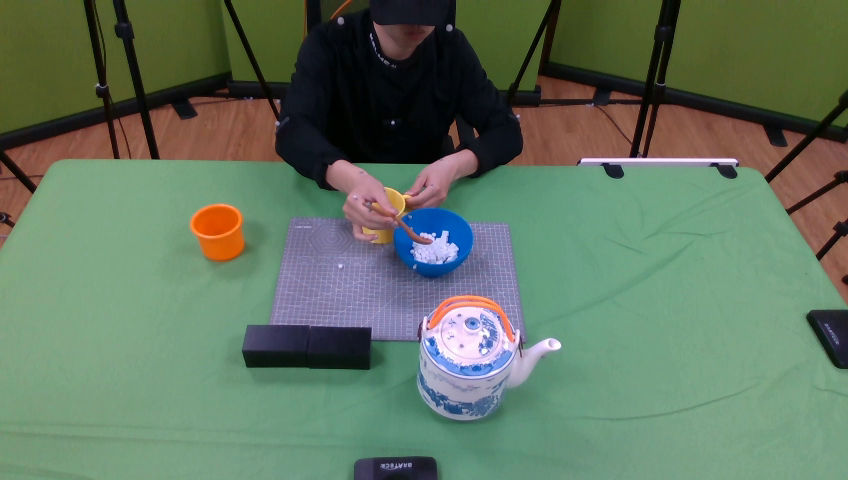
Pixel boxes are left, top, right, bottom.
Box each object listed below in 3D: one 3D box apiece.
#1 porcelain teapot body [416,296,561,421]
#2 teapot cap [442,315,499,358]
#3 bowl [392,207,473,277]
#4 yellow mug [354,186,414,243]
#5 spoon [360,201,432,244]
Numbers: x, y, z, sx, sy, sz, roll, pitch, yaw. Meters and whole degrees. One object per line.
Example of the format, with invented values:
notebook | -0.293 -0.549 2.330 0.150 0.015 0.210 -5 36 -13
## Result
porcelain teapot body | 0.094 0.164 0.907 0.205 0.226 0.144 6 45 1
teapot cap | 0.068 0.133 0.880 0.085 0.044 0.084 4 45 -4
bowl | 0.014 0.016 1.140 0.151 0.077 0.150 2 47 -2
yellow mug | -0.076 -0.057 1.212 0.131 0.064 0.099 -23 52 -25
spoon | -0.046 -0.030 1.035 0.041 0.195 0.021 26 84 40
